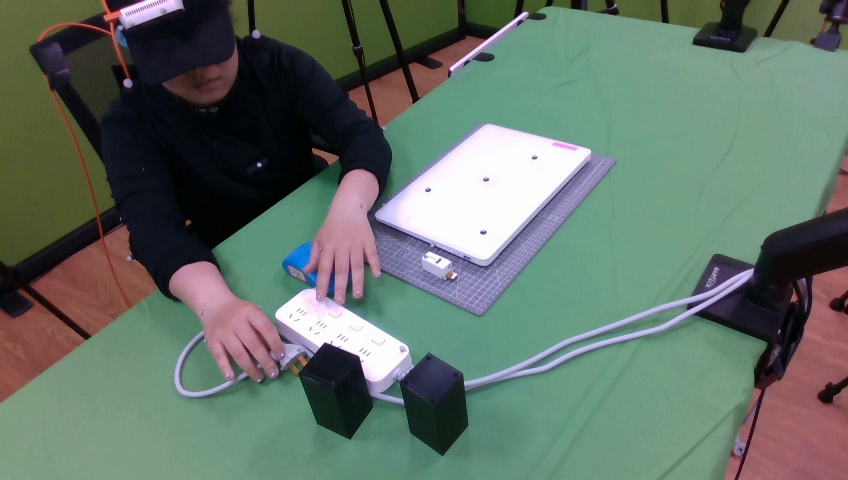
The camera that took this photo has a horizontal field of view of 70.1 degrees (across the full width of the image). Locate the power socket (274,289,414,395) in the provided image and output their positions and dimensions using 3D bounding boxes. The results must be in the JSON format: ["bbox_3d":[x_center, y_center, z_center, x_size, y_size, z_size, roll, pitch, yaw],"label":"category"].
[{"bbox_3d":[-0.114,0.134,0.819,0.225,0.033,0.072,25,49,32],"label":"power socket"}]

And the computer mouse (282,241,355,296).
[{"bbox_3d":[-0.164,0.041,0.935,0.116,0.041,0.063,29,50,31],"label":"computer mouse"}]

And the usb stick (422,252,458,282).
[{"bbox_3d":[0.025,0.042,0.908,0.058,0.027,0.021,27,50,31],"label":"usb stick"}]

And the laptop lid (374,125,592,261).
[{"bbox_3d":[0.109,-0.101,1.057,0.239,0.013,0.358,23,48,34],"label":"laptop lid"}]

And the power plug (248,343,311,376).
[{"bbox_3d":[-0.187,0.168,0.802,0.072,0.035,0.052,-42,72,3],"label":"power plug"}]

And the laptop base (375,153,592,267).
[{"bbox_3d":[0.112,-0.091,1.063,0.233,0.023,0.355,21,47,34],"label":"laptop base"}]
